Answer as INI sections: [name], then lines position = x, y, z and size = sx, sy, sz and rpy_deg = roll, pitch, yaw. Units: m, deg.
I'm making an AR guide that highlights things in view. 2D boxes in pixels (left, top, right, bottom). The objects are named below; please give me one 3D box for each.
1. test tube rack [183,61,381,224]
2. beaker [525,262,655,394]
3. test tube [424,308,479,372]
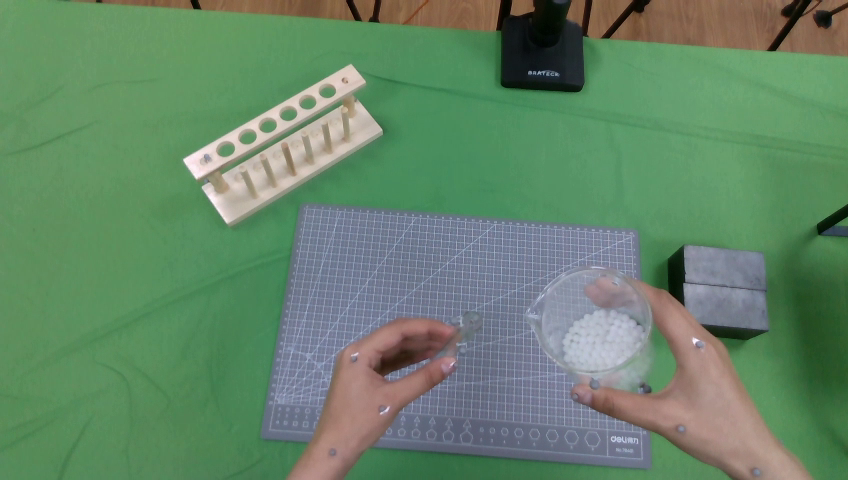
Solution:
[test tube rack]
position = -0.174, -0.126, 0.784
size = 0.242, 0.086, 0.066
rpy_deg = -34, 73, -14
[beaker]
position = 0.122, 0.068, 0.434
size = 0.083, 0.101, 0.073
rpy_deg = 3, 68, 23
[test tube]
position = 0.019, 0.084, 0.489
size = 0.017, 0.151, 0.017
rpy_deg = 4, 65, -9
